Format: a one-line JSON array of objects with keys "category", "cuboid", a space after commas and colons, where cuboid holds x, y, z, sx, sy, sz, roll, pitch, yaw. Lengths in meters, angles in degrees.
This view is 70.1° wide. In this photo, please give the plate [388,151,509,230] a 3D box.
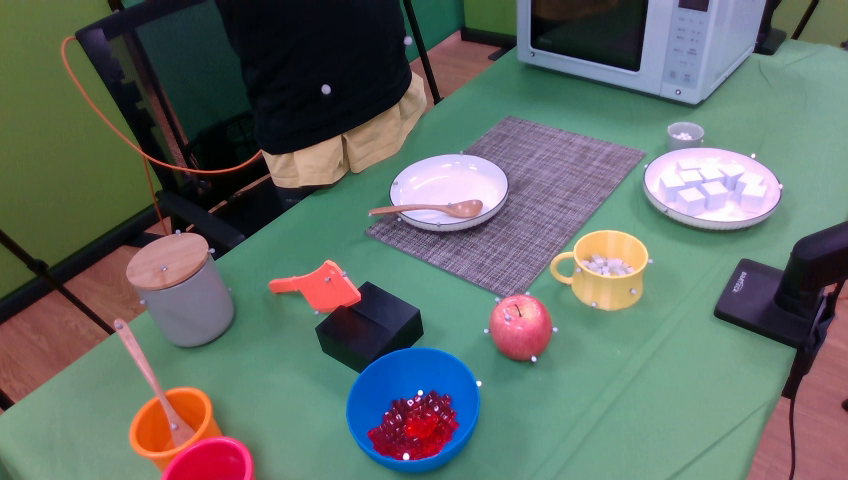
[{"category": "plate", "cuboid": [0.044, -0.082, 1.042, 0.209, 0.038, 0.208, -4, 40, 4]}]

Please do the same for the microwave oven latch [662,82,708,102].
[{"category": "microwave oven latch", "cuboid": [0.517, -0.298, 1.202, 0.078, 0.029, 0.030, 28, 52, 35]}]

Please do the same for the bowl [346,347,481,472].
[{"category": "bowl", "cuboid": [-0.008, 0.205, 0.691, 0.151, 0.077, 0.150, -4, 40, 4]}]

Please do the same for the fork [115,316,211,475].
[{"category": "fork", "cuboid": [-0.309, 0.179, 0.707, 0.028, 0.018, 0.207, -30, 89, -20]}]

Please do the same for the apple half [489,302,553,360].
[{"category": "apple half", "cuboid": [0.127, 0.123, 0.771, 0.081, 0.075, 0.053, -8, 44, -6]}]

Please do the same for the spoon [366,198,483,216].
[{"category": "spoon", "cuboid": [0.002, -0.055, 0.996, 0.194, 0.022, 0.041, 0, 48, -11]}]

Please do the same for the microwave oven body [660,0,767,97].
[{"category": "microwave oven body", "cuboid": [0.473, -0.516, 1.313, 0.438, 0.261, 0.327, 26, 51, 34]}]

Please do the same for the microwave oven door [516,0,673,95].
[{"category": "microwave oven door", "cuboid": [0.344, -0.458, 1.256, 0.353, 0.245, 0.039, 26, 51, 33]}]

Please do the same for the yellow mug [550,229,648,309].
[{"category": "yellow mug", "cuboid": [0.245, 0.040, 0.856, 0.130, 0.064, 0.099, 1, 42, 11]}]

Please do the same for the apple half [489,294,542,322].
[{"category": "apple half", "cuboid": [0.121, 0.098, 0.800, 0.081, 0.081, 0.032, -10, 44, -4]}]

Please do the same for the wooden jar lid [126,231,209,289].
[{"category": "wooden jar lid", "cuboid": [-0.340, 0.030, 0.809, 0.108, 0.021, 0.108, -5, 39, 5]}]

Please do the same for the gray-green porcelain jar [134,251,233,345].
[{"category": "gray-green porcelain jar", "cuboid": [-0.334, 0.076, 0.849, 0.106, 0.127, 0.105, -4, 41, 4]}]

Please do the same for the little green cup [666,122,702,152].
[{"category": "little green cup", "cuboid": [0.471, -0.184, 1.102, 0.061, 0.039, 0.061, -5, 41, 5]}]

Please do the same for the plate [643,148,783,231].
[{"category": "plate", "cuboid": [0.464, -0.080, 0.986, 0.207, 0.039, 0.206, -4, 41, 4]}]

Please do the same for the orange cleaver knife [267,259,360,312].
[{"category": "orange cleaver knife", "cuboid": [-0.161, 0.070, 0.859, 0.210, 0.077, 0.012, -13, 22, 49]}]
